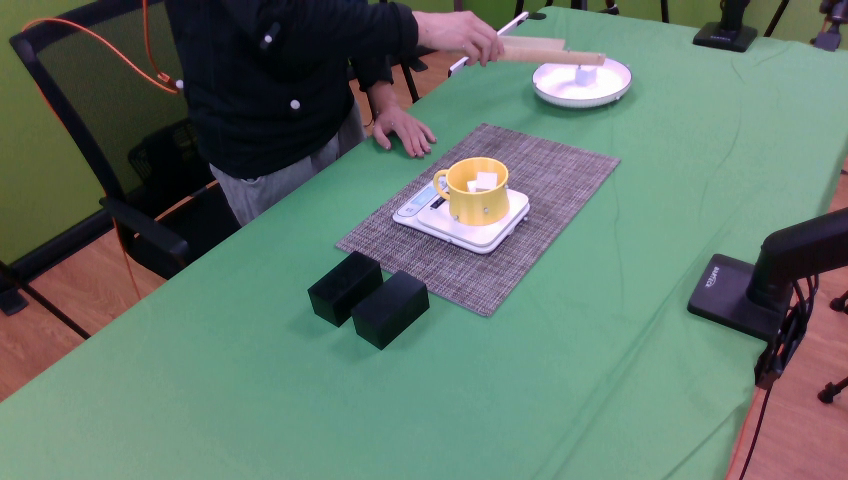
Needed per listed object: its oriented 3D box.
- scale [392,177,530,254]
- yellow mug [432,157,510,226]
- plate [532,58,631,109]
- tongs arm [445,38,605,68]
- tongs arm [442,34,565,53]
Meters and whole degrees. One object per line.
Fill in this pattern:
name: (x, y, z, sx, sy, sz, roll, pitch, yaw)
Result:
scale: (0.060, -0.050, 1.006, 0.199, 0.032, 0.149, 22, 48, 30)
yellow mug: (0.072, -0.082, 0.968, 0.130, 0.064, 0.100, 13, 45, 24)
plate: (0.336, -0.335, 1.301, 0.207, 0.039, 0.206, -4, 41, 4)
tongs arm: (0.204, -0.352, 1.147, 0.388, 0.026, 0.050, -10, 37, -37)
tongs arm: (0.166, -0.381, 1.186, 0.390, 0.028, 0.028, -15, 44, -43)
